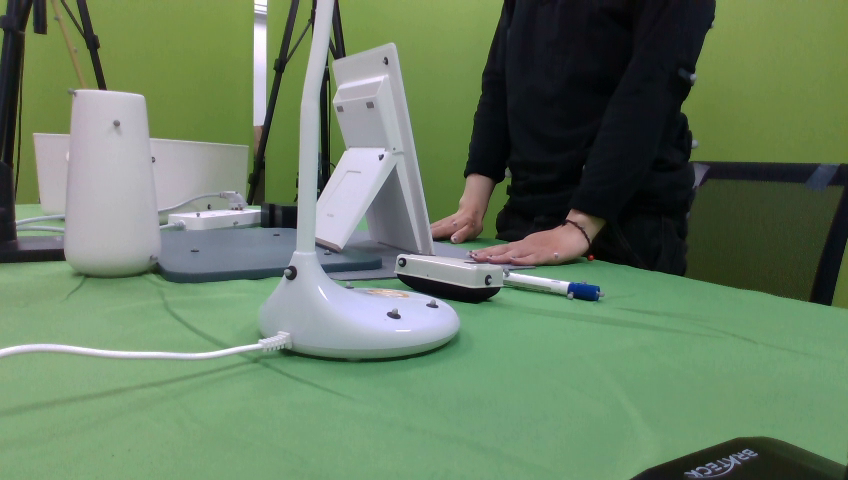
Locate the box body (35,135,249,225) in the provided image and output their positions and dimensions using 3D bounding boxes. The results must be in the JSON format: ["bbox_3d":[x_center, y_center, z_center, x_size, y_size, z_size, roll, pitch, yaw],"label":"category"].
[{"bbox_3d":[-0.561,-0.127,1.258,0.254,0.160,0.365,4,8,13],"label":"box body"}]

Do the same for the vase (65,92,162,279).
[{"bbox_3d":[-0.348,-0.060,0.673,0.098,0.200,0.098,1,7,0],"label":"vase"}]

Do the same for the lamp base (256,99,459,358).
[{"bbox_3d":[-0.055,-0.013,0.463,0.160,0.180,0.180,6,11,27],"label":"lamp base"}]

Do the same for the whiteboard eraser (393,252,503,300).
[{"bbox_3d":[0.024,0.037,0.637,0.112,0.042,0.056,8,7,42],"label":"whiteboard eraser"}]

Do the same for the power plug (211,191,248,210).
[{"bbox_3d":[-0.384,-0.071,1.206,0.072,0.052,0.035,1,7,27],"label":"power plug"}]

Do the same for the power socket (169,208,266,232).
[{"bbox_3d":[-0.379,-0.038,1.129,0.072,0.032,0.227,4,8,18],"label":"power socket"}]

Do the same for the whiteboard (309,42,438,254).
[{"bbox_3d":[-0.121,-0.112,0.890,0.144,0.305,0.216,-19,17,-26],"label":"whiteboard"}]

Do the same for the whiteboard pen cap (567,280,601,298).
[{"bbox_3d":[0.171,0.052,0.648,0.033,0.018,0.018,10,10,30],"label":"whiteboard pen cap"}]

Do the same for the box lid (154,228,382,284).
[{"bbox_3d":[-0.250,0.014,0.853,0.265,0.015,0.369,-3,9,-32],"label":"box lid"}]

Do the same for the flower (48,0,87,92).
[{"bbox_3d":[-0.361,-0.141,0.658,0.038,0.361,0.044,-13,11,11],"label":"flower"}]

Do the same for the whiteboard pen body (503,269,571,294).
[{"bbox_3d":[0.123,0.046,0.680,0.140,0.017,0.017,8,9,30],"label":"whiteboard pen body"}]
